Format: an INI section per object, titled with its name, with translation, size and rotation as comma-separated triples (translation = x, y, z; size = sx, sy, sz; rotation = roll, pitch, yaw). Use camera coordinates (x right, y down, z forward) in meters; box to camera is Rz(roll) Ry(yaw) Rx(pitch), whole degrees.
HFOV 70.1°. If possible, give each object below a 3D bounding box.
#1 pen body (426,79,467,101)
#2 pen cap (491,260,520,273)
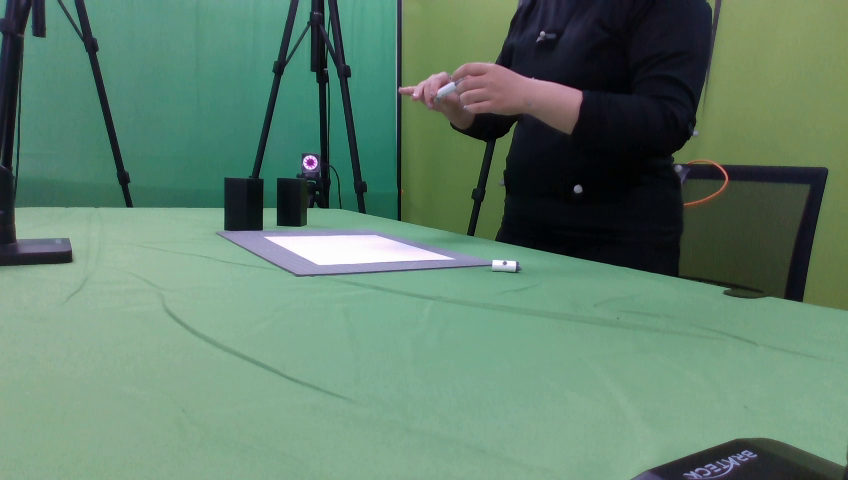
[pen body]
translation = 0.041, -0.272, 1.095
size = 0.017, 0.017, 0.143
rotation = -1, 0, -26
[pen cap]
translation = 0.110, 0.036, 0.813
size = 0.038, 0.017, 0.017
rotation = 3, 7, 7
